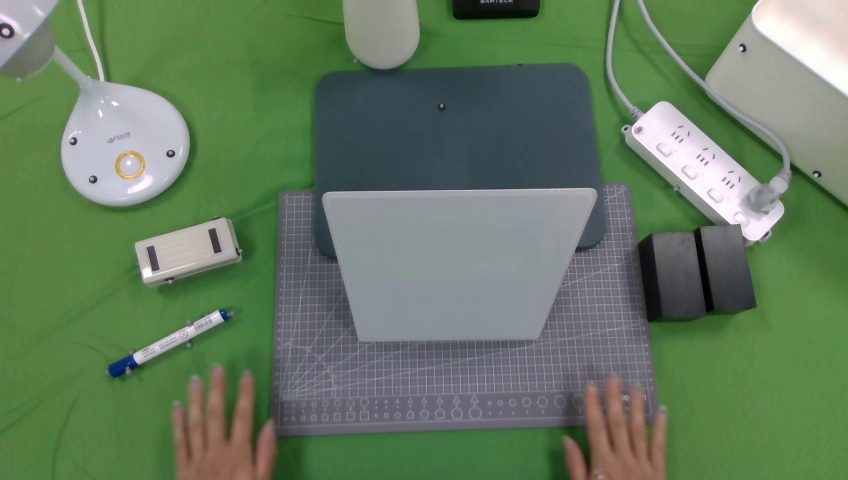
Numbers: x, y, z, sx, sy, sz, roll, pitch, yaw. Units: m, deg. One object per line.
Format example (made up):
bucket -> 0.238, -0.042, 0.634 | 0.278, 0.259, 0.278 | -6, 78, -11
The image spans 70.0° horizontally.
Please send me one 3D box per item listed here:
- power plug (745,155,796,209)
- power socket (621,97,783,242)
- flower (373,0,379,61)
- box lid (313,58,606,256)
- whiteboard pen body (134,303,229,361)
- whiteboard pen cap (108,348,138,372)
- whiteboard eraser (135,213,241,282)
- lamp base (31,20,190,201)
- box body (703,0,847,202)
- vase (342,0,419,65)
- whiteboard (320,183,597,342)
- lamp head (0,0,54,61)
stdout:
power plug -> 0.426, -0.065, 0.740 | 0.072, 0.053, 0.035 | -31, 76, -13
power socket -> 0.353, -0.091, 0.771 | 0.072, 0.033, 0.225 | -41, 79, -11
flower -> -0.049, -0.339, 0.661 | 0.044, 0.364, 0.038 | 36, 61, 15
box lid -> 0.043, -0.112, 0.783 | 0.372, 0.015, 0.261 | -3, 75, -1
whiteboard pen body -> -0.296, 0.113, 0.714 | 0.141, 0.017, 0.017 | -28, 77, -7
whiteboard pen cap -> -0.349, 0.138, 0.706 | 0.033, 0.018, 0.018 | -29, 77, -5
whiteboard eraser -> -0.283, 0.009, 0.730 | 0.113, 0.042, 0.055 | -17, 78, -6
lamp base -> -0.387, -0.156, 0.701 | 0.160, 0.181, 0.178 | -32, 75, -9
box body -> 0.567, -0.197, 0.734 | 0.362, 0.161, 0.254 | 42, 78, 10
vase -> -0.054, -0.301, 0.736 | 0.098, 0.201, 0.097 | 0, 73, -1
whiteboard -> 0.028, -0.018, 0.628 | 0.217, 0.308, 0.142 | 0, 59, 0
lamp head -> -0.342, -0.191, 0.426 | 0.112, 0.124, 0.111 | -25, 42, 26
